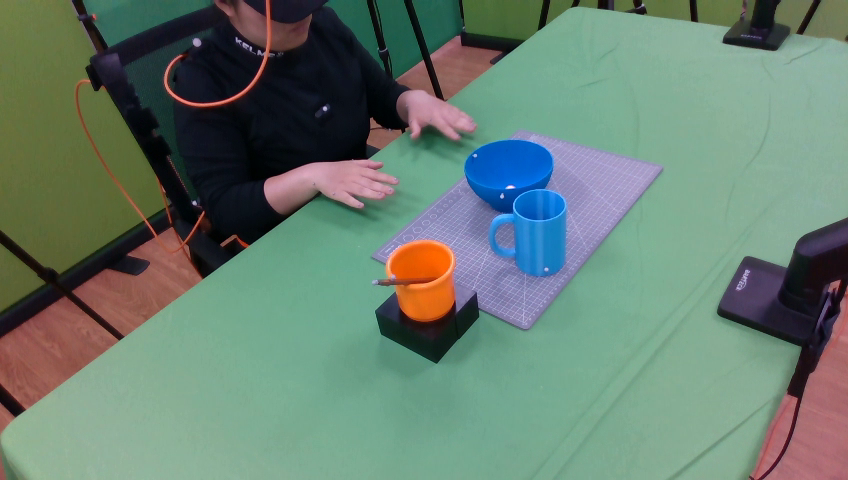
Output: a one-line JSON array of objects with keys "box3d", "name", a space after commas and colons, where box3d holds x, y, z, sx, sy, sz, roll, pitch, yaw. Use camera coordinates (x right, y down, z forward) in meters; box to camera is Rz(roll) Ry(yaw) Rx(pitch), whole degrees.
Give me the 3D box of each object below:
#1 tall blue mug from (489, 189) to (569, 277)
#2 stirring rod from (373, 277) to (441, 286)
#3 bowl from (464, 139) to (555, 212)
[{"box3d": [0.158, -0.005, 0.886, 0.107, 0.108, 0.077, -23, 43, -16], "name": "tall blue mug"}, {"box3d": [-0.018, 0.051, 0.757, 0.014, 0.006, 0.177, 10, 2, 24], "name": "stirring rod"}, {"box3d": [0.145, -0.100, 1.025, 0.151, 0.077, 0.150, -5, 40, 5], "name": "bowl"}]
